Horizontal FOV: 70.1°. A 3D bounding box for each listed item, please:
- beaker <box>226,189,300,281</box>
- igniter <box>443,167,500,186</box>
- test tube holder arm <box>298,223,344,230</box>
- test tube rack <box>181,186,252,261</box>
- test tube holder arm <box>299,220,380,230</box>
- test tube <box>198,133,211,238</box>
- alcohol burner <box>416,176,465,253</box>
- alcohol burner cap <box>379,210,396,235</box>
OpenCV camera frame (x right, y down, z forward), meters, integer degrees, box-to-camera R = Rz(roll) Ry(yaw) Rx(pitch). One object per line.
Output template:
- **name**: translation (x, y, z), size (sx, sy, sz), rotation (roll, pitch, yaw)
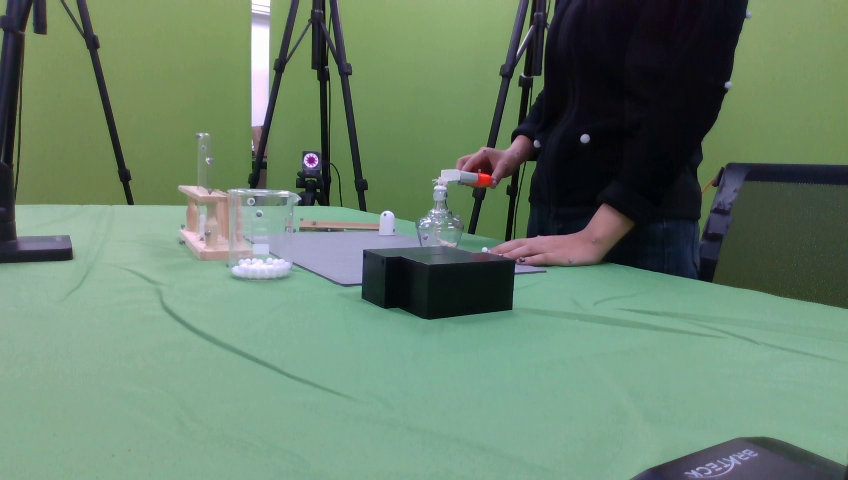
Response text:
- **beaker**: translation (-0.184, -0.007, 0.694), size (0.084, 0.100, 0.073), rotation (-1, 8, -29)
- **igniter**: translation (0.089, -0.112, 1.074), size (0.057, 0.025, 0.277), rotation (2, 4, 19)
- **test tube holder arm**: translation (-0.197, -0.026, 1.163), size (0.088, 0.015, 0.010), rotation (0, -27, -20)
- **test tube rack**: translation (-0.312, -0.031, 0.893), size (0.067, 0.085, 0.241), rotation (-1, 8, -27)
- **test tube holder arm**: translation (-0.153, -0.028, 1.174), size (0.179, 0.015, 0.013), rotation (1, -27, -21)
- **test tube**: translation (-0.316, -0.078, 0.871), size (0.017, 0.150, 0.017), rotation (2, 3, 0)
- **alcohol burner**: translation (0.025, -0.040, 0.935), size (0.078, 0.119, 0.078), rotation (1, 6, 0)
- **alcohol burner cap**: translation (-0.067, -0.033, 1.129), size (0.034, 0.048, 0.034), rotation (1, 7, 0)
